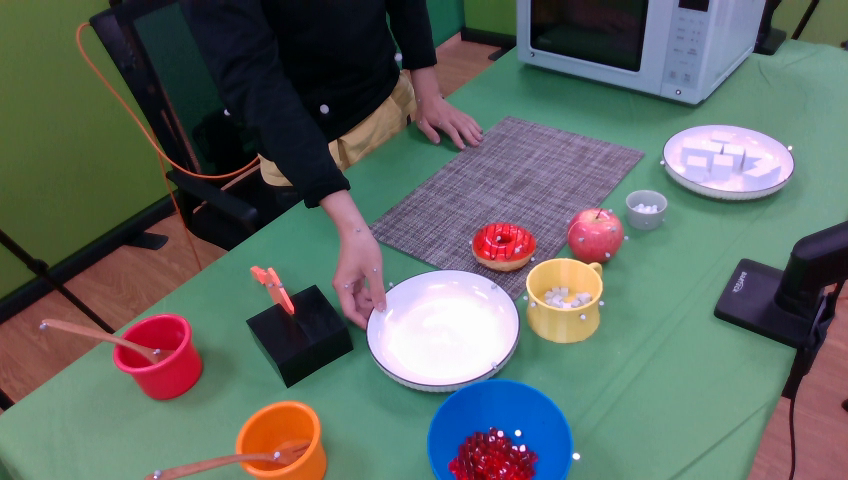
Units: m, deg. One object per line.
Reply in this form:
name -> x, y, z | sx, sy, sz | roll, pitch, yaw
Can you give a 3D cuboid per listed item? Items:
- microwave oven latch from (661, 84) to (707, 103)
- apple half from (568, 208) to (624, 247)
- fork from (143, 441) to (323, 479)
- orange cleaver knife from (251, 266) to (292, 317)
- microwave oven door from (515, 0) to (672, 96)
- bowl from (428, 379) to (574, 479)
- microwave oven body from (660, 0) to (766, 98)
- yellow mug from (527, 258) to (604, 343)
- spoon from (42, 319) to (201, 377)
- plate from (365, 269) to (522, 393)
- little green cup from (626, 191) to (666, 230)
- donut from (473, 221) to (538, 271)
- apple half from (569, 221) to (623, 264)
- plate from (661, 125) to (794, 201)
microwave oven latch -> 0.517, -0.296, 1.204 | 0.078, 0.029, 0.030 | 27, 52, 35
apple half -> 0.259, -0.014, 0.914 | 0.080, 0.075, 0.053 | 0, 36, 15
fork -> -0.189, 0.231, 0.631 | 0.028, 0.018, 0.209 | 35, 13, 37
orange cleaver knife -> -0.221, 0.071, 0.873 | 0.012, 0.077, 0.210 | -25, 11, -21
microwave oven door -> 0.343, -0.454, 1.259 | 0.353, 0.245, 0.039 | 26, 51, 33
bowl -> 0.082, 0.233, 0.644 | 0.151, 0.077, 0.150 | -4, 39, 4
microwave oven body -> 0.472, -0.513, 1.317 | 0.438, 0.261, 0.327 | 26, 51, 34
yellow mug -> 0.201, 0.073, 0.825 | 0.131, 0.064, 0.099 | -32, 46, -27
spoon -> -0.385, 0.135, 0.779 | 0.195, 0.021, 0.041 | 28, 36, -26
plate -> 0.027, 0.123, 0.813 | 0.209, 0.038, 0.208 | -4, 40, 4
little green cup -> 0.352, -0.046, 0.963 | 0.061, 0.039, 0.061 | -4, 40, 4
donut -> 0.124, 0.009, 0.923 | 0.099, 0.048, 0.098 | -4, 38, 3
apple half -> 0.251, 0.010, 0.884 | 0.081, 0.081, 0.032 | 3, 37, 12
plate -> 0.513, -0.128, 1.035 | 0.207, 0.039, 0.206 | -4, 40, 4
